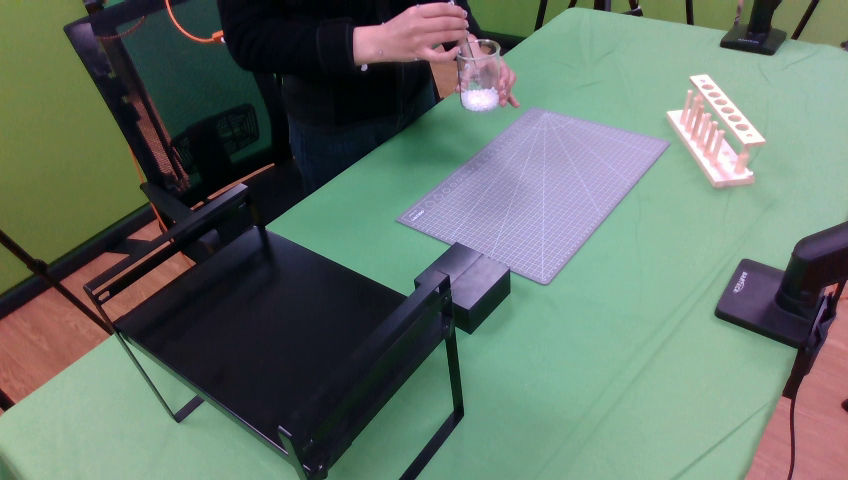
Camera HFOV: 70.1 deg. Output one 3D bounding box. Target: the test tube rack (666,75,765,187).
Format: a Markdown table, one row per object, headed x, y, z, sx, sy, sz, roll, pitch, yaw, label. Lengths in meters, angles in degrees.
| x | y | z | sx | sy | sz | roll | pitch | yaw | label |
| --- | --- | --- | --- | --- | --- | --- | --- | --- | --- |
| 0.512 | -0.201 | 1.082 | 0.067 | 0.085 | 0.241 | -6 | 41 | 2 | test tube rack |

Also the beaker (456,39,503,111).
| x | y | z | sx | sy | sz | roll | pitch | yaw | label |
| --- | --- | --- | --- | --- | --- | --- | --- | --- | --- |
| 0.093 | -0.277 | 1.019 | 0.083 | 0.101 | 0.074 | 26 | 50 | 33 | beaker |

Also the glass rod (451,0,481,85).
| x | y | z | sx | sy | sz | roll | pitch | yaw | label |
| --- | --- | --- | --- | --- | --- | --- | --- | --- | --- |
| 0.060 | -0.328 | 0.950 | 0.008 | 0.201 | 0.008 | -13 | 44 | 14 | glass rod |
